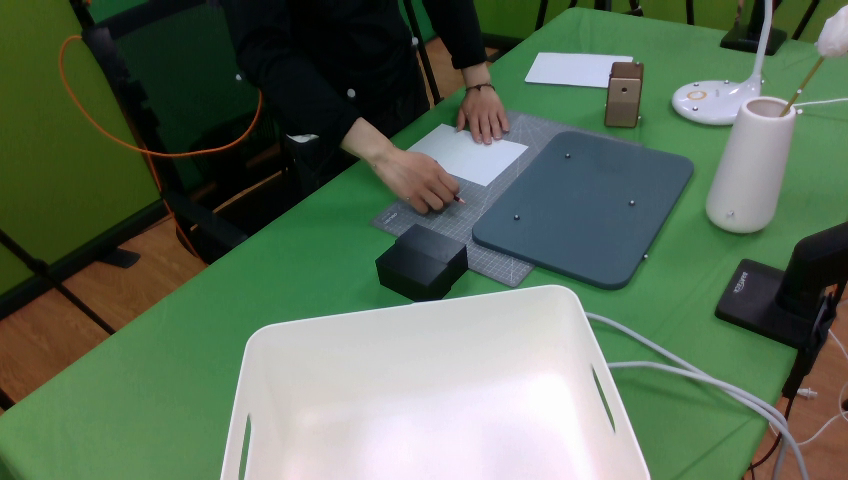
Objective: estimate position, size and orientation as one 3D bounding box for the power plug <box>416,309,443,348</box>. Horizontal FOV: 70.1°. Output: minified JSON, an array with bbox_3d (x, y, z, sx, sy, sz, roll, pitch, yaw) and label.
[{"bbox_3d":[0.004,0.121,0.787,0.035,0.053,0.072,2,46,8],"label":"power plug"}]

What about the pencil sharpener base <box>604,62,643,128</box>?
[{"bbox_3d":[0.390,-0.284,1.182,0.061,0.107,0.076,7,42,17],"label":"pencil sharpener base"}]

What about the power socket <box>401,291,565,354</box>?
[{"bbox_3d":[0.080,0.111,0.823,0.227,0.033,0.072,-5,41,1],"label":"power socket"}]

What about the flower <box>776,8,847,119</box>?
[{"bbox_3d":[0.476,-0.156,0.823,0.038,0.362,0.044,8,58,2],"label":"flower"}]

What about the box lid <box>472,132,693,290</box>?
[{"bbox_3d":[0.273,-0.068,1.020,0.261,0.015,0.372,20,47,28],"label":"box lid"}]

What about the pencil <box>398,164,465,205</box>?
[{"bbox_3d":[0.011,-0.099,1.074,0.012,0.012,0.192,-30,42,-24],"label":"pencil"}]

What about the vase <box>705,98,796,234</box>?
[{"bbox_3d":[0.480,-0.104,0.889,0.098,0.201,0.097,-4,42,4],"label":"vase"}]

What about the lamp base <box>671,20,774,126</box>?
[{"bbox_3d":[0.581,-0.332,1.154,0.179,0.181,0.160,2,41,7],"label":"lamp base"}]

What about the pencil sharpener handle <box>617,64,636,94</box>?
[{"bbox_3d":[0.401,-0.326,1.211,0.036,0.068,0.030,16,44,8],"label":"pencil sharpener handle"}]

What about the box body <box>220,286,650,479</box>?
[{"bbox_3d":[0.006,0.210,0.618,0.364,0.161,0.252,-8,40,-1],"label":"box body"}]
